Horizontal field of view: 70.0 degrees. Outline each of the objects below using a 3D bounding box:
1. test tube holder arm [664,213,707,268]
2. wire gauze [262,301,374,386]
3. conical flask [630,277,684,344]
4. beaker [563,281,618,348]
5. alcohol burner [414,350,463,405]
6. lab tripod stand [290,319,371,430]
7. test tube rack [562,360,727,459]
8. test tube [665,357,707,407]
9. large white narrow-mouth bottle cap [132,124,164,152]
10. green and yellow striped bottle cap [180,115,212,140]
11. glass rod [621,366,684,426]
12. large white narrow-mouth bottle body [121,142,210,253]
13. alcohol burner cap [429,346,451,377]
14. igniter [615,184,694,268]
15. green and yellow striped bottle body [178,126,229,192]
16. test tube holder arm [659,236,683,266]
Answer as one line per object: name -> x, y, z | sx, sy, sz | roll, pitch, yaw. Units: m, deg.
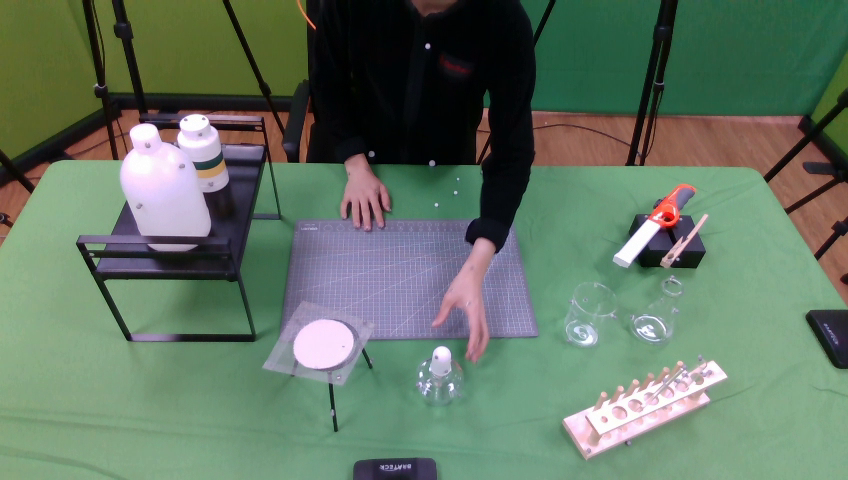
test tube holder arm -> 0.507, -0.001, 1.171 | 0.013, 0.015, 0.178 | 33, 53, 26
wire gauze -> -0.150, 0.148, 0.873 | 0.121, 0.011, 0.124 | 14, 46, 12
conical flask -> 0.408, 0.117, 1.045 | 0.075, 0.122, 0.075 | 2, 46, -2
beaker -> 0.283, 0.129, 1.041 | 0.074, 0.101, 0.083 | 11, 46, 6
alcohol burner -> 0.023, 0.205, 0.939 | 0.078, 0.120, 0.077 | 1, 47, -1
lab tripod stand -> -0.146, 0.194, 0.923 | 0.148, 0.132, 0.147 | 1, 47, -1
test tube rack -> 0.341, 0.247, 0.940 | 0.243, 0.085, 0.066 | -16, 49, -19
test tube -> 0.386, 0.215, 0.905 | 0.017, 0.151, 0.017 | 1, 52, -1
large white narrow-mouth bottle cap -> -0.370, -0.137, 0.812 | 0.038, 0.024, 0.037 | 3, 46, -3
green and yellow striped bottle cap -> -0.358, -0.177, 0.951 | 0.045, 0.020, 0.045 | 1, 44, -1
glass rod -> 0.322, 0.227, 0.866 | 0.008, 0.200, 0.008 | 5, 51, -7
large white narrow-mouth bottle body -> -0.378, -0.077, 0.875 | 0.102, 0.195, 0.101 | 3, 46, -3
alcohol burner cap -> 0.026, 0.180, 0.912 | 0.034, 0.048, 0.033 | 1, 47, -1
igniter -> 0.459, -0.035, 1.197 | 0.057, 0.025, 0.276 | 32, 55, 27
green and yellow striped bottle body -> -0.361, -0.142, 0.989 | 0.063, 0.120, 0.063 | 2, 46, -2
test tube holder arm -> 0.472, 0.020, 1.149 | 0.010, 0.015, 0.088 | 34, 54, 27
